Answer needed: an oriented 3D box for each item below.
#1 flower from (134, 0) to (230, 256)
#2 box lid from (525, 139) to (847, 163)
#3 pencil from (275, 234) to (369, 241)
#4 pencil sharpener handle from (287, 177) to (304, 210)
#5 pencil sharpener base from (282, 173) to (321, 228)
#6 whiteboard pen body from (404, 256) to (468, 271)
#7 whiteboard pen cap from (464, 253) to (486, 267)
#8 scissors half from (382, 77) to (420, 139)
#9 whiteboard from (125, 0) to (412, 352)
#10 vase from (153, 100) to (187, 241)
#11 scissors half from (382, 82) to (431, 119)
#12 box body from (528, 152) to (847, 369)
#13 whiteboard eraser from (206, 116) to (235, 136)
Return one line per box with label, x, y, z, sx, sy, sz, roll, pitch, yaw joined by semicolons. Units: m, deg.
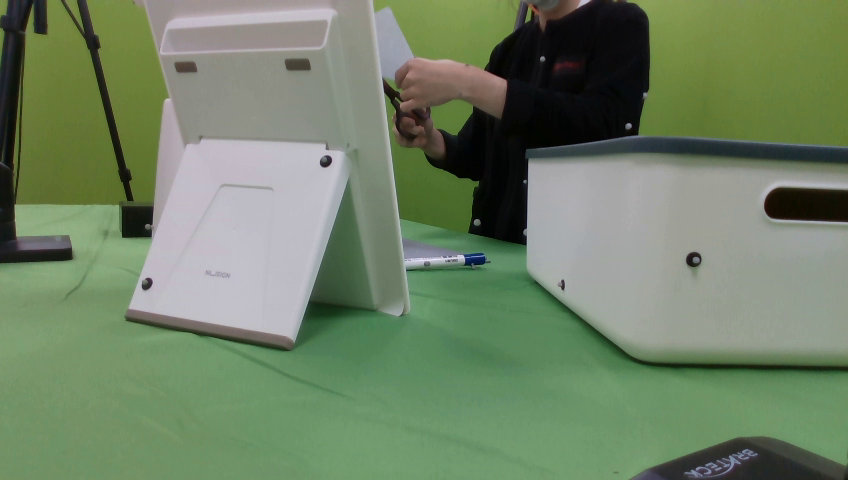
flower;-0.282;-0.147;0.713;0.038;0.362;0.044;-23;24;-31
box lid;0.261;-0.078;0.580;0.264;0.015;0.371;2;7;-4
pencil;-0.169;-0.006;1.036;0.195;0.012;0.012;-2;9;-45
pencil sharpener handle;-0.269;-0.096;1.257;0.036;0.067;0.030;-8;8;-27
pencil sharpener base;-0.247;-0.080;1.212;0.061;0.107;0.076;-2;5;-28
whiteboard pen body;0.013;0.030;0.792;0.141;0.017;0.017;-3;9;-24
whiteboard pen cap;0.066;0.027;0.818;0.033;0.018;0.018;-5;10;-24
scissors half;-0.058;-0.243;1.059;0.012;0.176;0.040;18;61;48
whiteboard;-0.151;-0.049;0.472;0.216;0.305;0.144;6;27;24
vase;-0.278;-0.066;0.736;0.098;0.200;0.098;2;9;0
scissors half;-0.047;-0.262;1.064;0.013;0.040;0.176;11;-8;46
box body;0.257;-0.005;0.591;0.254;0.160;0.363;2;7;-4
whiteboard eraser;-0.450;-0.252;1.335;0.056;0.042;0.112;1;7;-22
